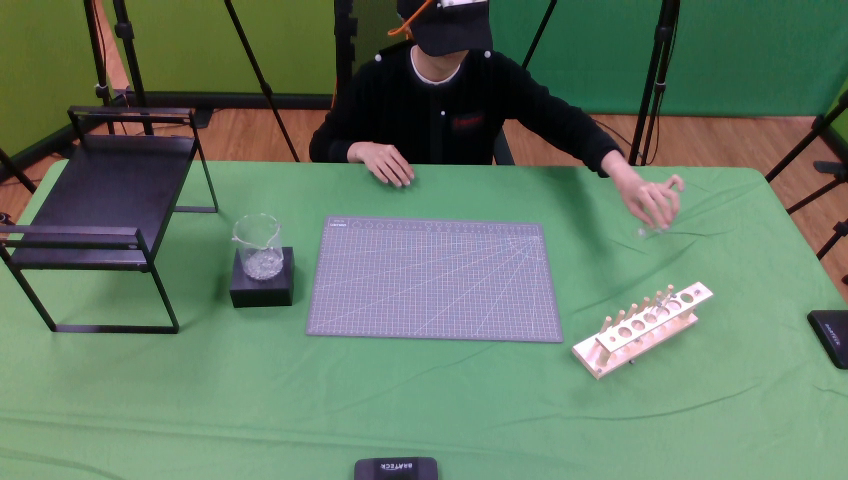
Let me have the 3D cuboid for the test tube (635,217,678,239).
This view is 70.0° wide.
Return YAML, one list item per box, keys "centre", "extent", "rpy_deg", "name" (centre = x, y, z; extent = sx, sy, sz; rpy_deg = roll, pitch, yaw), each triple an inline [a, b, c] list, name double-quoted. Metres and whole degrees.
- centre: [0.414, -0.022, 1.074]
  extent: [0.151, 0.017, 0.017]
  rpy_deg: [-14, 45, -43]
  name: "test tube"

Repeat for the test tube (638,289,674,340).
- centre: [0.374, 0.124, 0.983]
  extent: [0.017, 0.151, 0.017]
  rpy_deg: [0, 54, 0]
  name: "test tube"

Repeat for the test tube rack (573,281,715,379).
- centre: [0.378, 0.140, 1.038]
  extent: [0.242, 0.085, 0.066]
  rpy_deg: [-22, 51, -23]
  name: "test tube rack"

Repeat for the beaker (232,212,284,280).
- centre: [-0.280, 0.016, 1.037]
  extent: [0.074, 0.101, 0.083]
  rpy_deg: [-18, 50, -20]
  name: "beaker"
